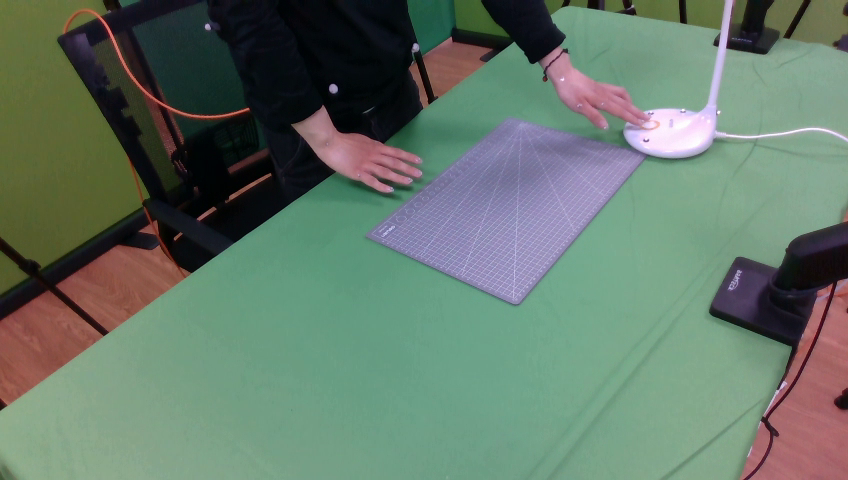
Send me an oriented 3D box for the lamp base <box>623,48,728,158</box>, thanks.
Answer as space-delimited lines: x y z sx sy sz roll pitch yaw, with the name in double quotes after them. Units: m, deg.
0.463 -0.260 1.084 0.179 0.181 0.160 3 41 7 "lamp base"
